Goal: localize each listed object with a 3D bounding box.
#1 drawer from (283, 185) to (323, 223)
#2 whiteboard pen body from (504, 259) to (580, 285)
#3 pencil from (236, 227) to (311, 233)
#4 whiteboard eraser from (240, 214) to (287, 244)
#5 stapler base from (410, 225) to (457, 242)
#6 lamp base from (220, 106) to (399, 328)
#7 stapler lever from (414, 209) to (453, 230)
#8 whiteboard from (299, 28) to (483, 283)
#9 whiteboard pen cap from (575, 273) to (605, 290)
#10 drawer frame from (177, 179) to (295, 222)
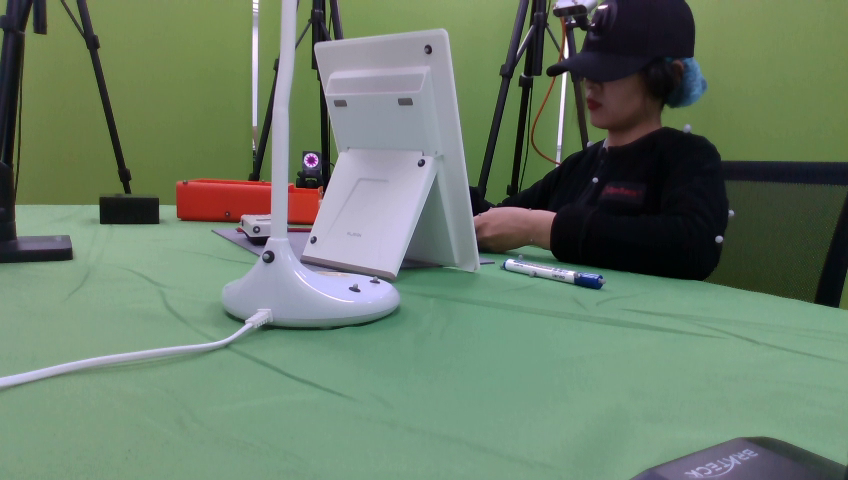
[{"bbox_3d":[-0.329,-0.085,1.326,0.212,0.073,0.194,1,8,-7],"label":"drawer"},{"bbox_3d":[0.157,0.042,0.764,0.017,0.017,0.140,-4,10,-41],"label":"whiteboard pen body"},{"bbox_3d":[-0.239,-0.017,1.093,0.195,0.012,0.012,1,7,-27],"label":"pencil"},{"bbox_3d":[-0.256,-0.018,0.958,0.056,0.042,0.112,0,8,-25],"label":"whiteboard eraser"},{"bbox_3d":[0.017,-0.014,1.129,0.041,0.024,0.130,1,5,-26],"label":"stapler base"},{"bbox_3d":[-0.101,-0.023,0.531,0.160,0.180,0.179,4,10,10],"label":"lamp base"},{"bbox_3d":[0.017,-0.040,1.128,0.027,0.040,0.117,1,5,-26],"label":"stapler lever"},{"bbox_3d":[-0.075,-0.082,0.741,0.216,0.305,0.144,9,30,38],"label":"whiteboard"},{"bbox_3d":[0.197,0.048,0.719,0.018,0.018,0.033,-4,11,-41],"label":"whiteboard pen cap"},{"bbox_3d":[-0.397,-0.088,1.315,0.214,0.082,0.201,1,8,-7],"label":"drawer frame"}]
